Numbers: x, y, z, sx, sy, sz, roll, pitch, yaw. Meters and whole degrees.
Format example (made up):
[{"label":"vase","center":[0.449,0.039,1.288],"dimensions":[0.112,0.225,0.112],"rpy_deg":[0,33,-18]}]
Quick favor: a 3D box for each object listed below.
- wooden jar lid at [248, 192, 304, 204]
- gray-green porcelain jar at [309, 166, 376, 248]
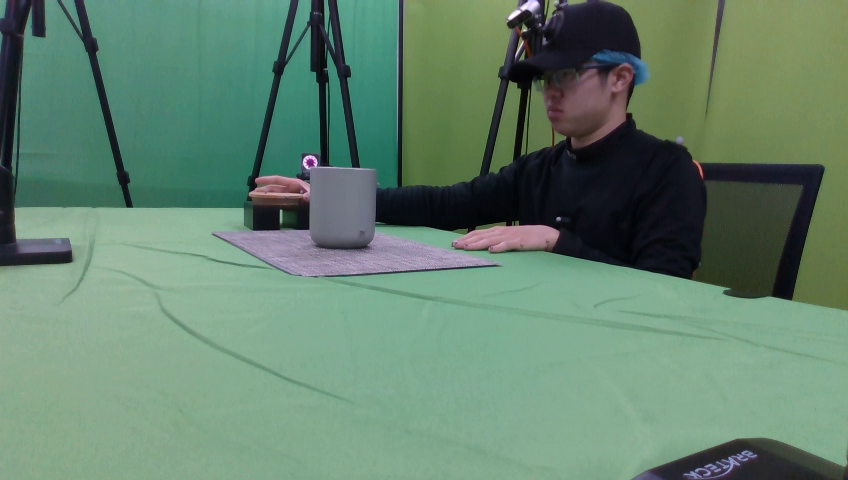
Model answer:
[{"label":"wooden jar lid","center":[-0.298,-0.086,1.218],"dimensions":[0.108,0.020,0.108],"rpy_deg":[3,7,0]},{"label":"gray-green porcelain jar","center":[-0.130,-0.054,0.966],"dimensions":[0.106,0.126,0.106],"rpy_deg":[2,7,0]}]
